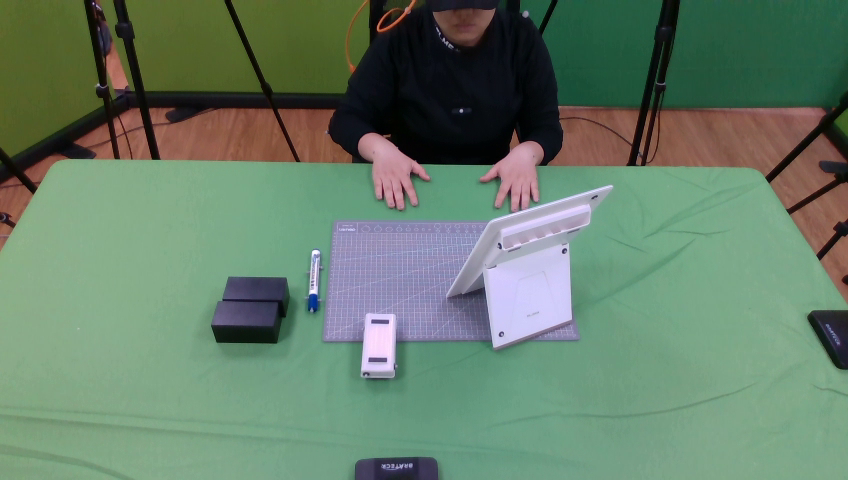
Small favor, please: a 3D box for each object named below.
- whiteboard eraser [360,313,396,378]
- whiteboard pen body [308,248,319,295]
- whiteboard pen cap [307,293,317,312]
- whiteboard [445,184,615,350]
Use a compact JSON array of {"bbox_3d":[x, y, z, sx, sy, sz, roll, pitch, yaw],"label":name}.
[{"bbox_3d":[-0.075,0.176,1.006,0.055,0.042,0.112,3,50,-4],"label":"whiteboard eraser"},{"bbox_3d":[-0.204,0.069,1.119,0.017,0.017,0.140,-1,46,-5],"label":"whiteboard pen body"},{"bbox_3d":[-0.199,0.110,1.078,0.018,0.018,0.033,-1,47,-5],"label":"whiteboard pen cap"},{"bbox_3d":[0.186,0.065,0.989,0.217,0.306,0.143,-15,68,-18],"label":"whiteboard"}]
